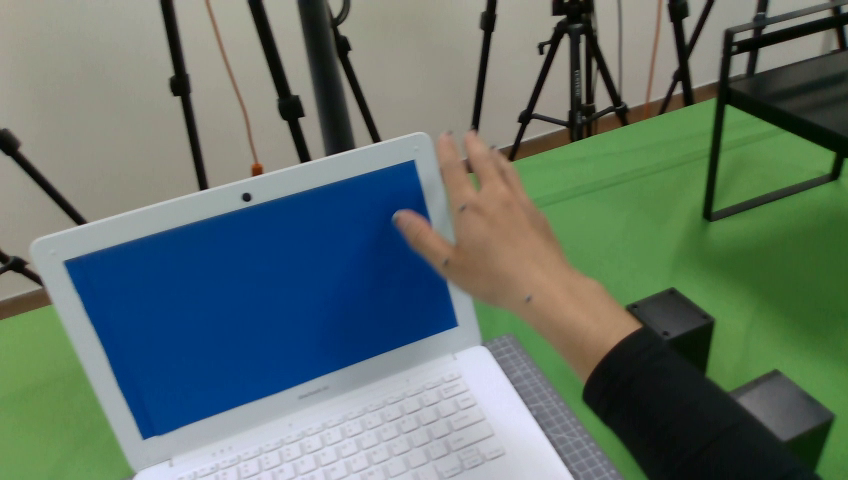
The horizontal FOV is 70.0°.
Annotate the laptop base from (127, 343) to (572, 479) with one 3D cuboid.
[{"bbox_3d":[-0.065,0.221,0.501,0.355,0.023,0.233,-18,38,-13],"label":"laptop base"}]

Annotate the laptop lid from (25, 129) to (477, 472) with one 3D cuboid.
[{"bbox_3d":[-0.134,0.054,0.559,0.357,0.243,0.013,-20,17,-12],"label":"laptop lid"}]
